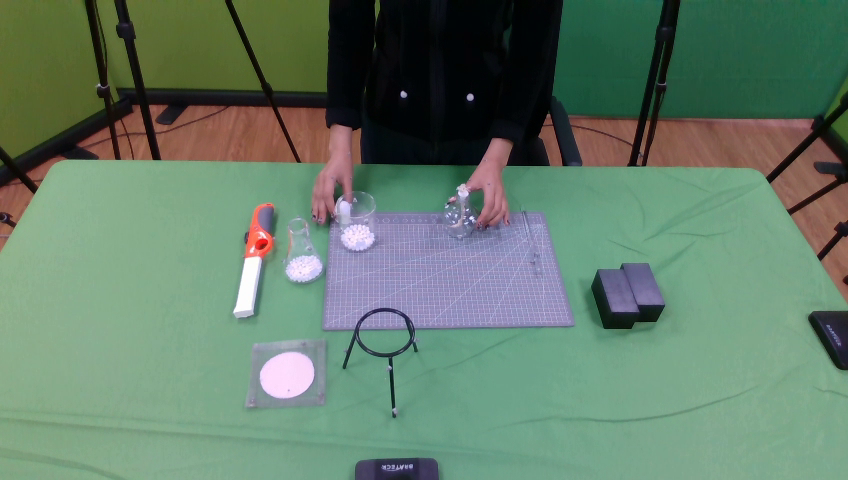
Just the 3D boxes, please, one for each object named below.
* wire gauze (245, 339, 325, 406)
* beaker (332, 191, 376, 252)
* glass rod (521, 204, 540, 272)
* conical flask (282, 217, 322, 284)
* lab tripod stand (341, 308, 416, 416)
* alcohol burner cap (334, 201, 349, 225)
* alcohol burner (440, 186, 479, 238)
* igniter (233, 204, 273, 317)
[{"bbox_3d":[-0.224,0.214,0.984,0.125,0.011,0.120,-2,46,-5],"label":"wire gauze"},{"bbox_3d":[-0.133,-0.032,1.163,0.084,0.101,0.073,-19,50,-20],"label":"beaker"},{"bbox_3d":[0.215,-0.008,1.230,0.008,0.008,0.198,0,43,-3],"label":"glass rod"},{"bbox_3d":[-0.225,0.016,1.097,0.075,0.122,0.075,2,46,-2],"label":"conical flask"},{"bbox_3d":[-0.061,0.177,0.946,0.148,0.132,0.147,2,44,-2],"label":"lab tripod stand"},{"bbox_3d":[-0.167,-0.058,1.224,0.034,0.048,0.033,3,48,-3],"label":"alcohol burner cap"},{"bbox_3d":[0.072,-0.062,1.198,0.078,0.119,0.077,4,47,-4],"label":"alcohol burner"},{"bbox_3d":[-0.321,0.029,1.142,0.057,0.025,0.274,-8,46,4],"label":"igniter"}]
